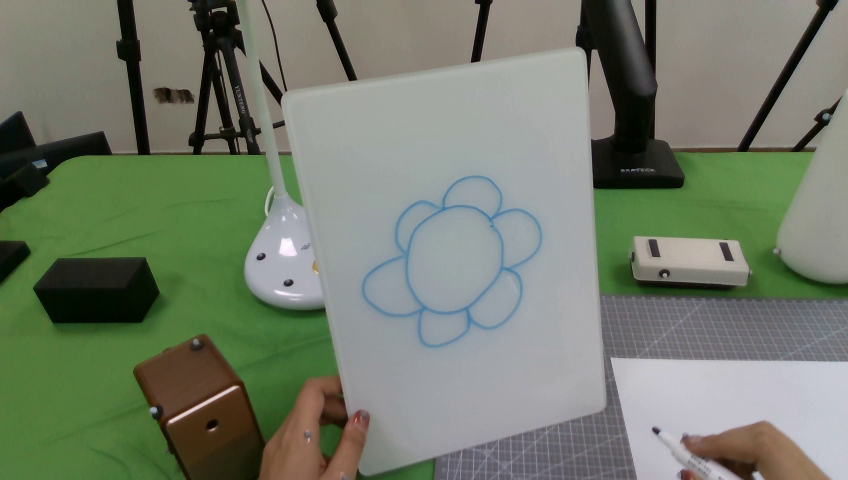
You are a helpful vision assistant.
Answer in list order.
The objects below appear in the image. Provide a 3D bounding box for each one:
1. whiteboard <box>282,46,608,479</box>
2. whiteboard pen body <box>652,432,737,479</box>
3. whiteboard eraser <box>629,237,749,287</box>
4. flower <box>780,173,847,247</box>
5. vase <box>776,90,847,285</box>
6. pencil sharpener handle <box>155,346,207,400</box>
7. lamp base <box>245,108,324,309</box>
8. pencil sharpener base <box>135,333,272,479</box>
[{"bbox_3d":[0.019,0.010,0.518,0.217,0.307,0.143,-12,18,-9],"label":"whiteboard"},{"bbox_3d":[0.184,0.149,0.349,0.017,0.017,0.139,-19,23,-20],"label":"whiteboard pen body"},{"bbox_3d":[0.281,0.025,0.650,0.112,0.042,0.055,1,34,8],"label":"whiteboard eraser"},{"bbox_3d":[0.436,-0.110,0.547,0.044,0.364,0.038,-13,55,-23],"label":"flower"},{"bbox_3d":[0.432,-0.052,0.608,0.098,0.202,0.097,-1,37,1],"label":"vase"},{"bbox_3d":[-0.202,0.106,0.503,0.036,0.068,0.030,-33,45,-23],"label":"pencil sharpener handle"},{"bbox_3d":[-0.137,-0.043,0.661,0.161,0.182,0.177,-31,42,-32],"label":"lamp base"},{"bbox_3d":[-0.172,0.139,0.477,0.061,0.108,0.076,-27,42,-28],"label":"pencil sharpener base"}]
